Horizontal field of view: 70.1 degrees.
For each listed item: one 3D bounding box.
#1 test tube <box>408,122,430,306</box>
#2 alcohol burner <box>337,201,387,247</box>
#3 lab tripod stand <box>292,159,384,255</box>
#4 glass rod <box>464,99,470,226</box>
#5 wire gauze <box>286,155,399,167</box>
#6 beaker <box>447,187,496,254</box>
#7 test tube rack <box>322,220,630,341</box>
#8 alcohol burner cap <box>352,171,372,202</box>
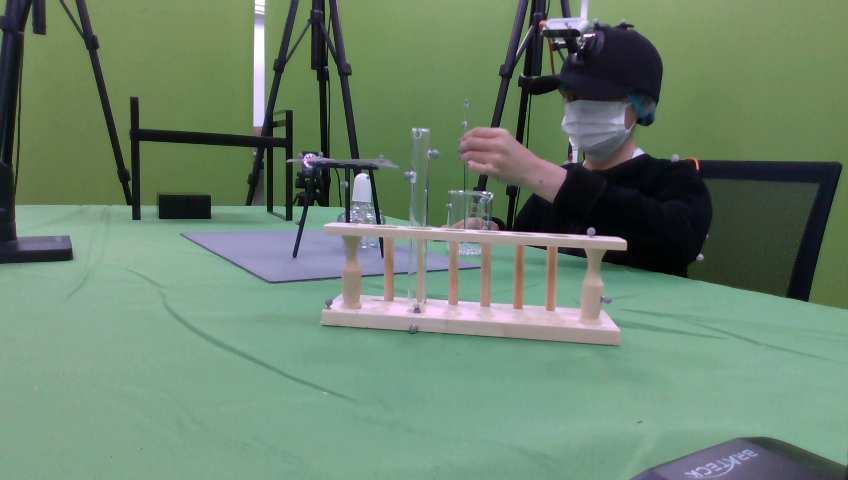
[{"bbox_3d":[-0.004,-0.019,0.489,0.017,0.150,0.017,1,11,0],"label":"test tube"},{"bbox_3d":[-0.098,-0.049,0.954,0.078,0.119,0.078,0,7,0],"label":"alcohol burner"},{"bbox_3d":[-0.105,-0.039,0.797,0.148,0.131,0.148,2,5,0],"label":"lab tripod stand"},{"bbox_3d":[0.066,-0.113,0.923,0.008,0.199,0.008,-1,16,1],"label":"glass rod"},{"bbox_3d":[-0.101,-0.105,0.788,0.121,0.011,0.125,4,6,6],"label":"wire gauze"},{"bbox_3d":[0.076,-0.031,0.949,0.074,0.100,0.083,-5,11,-42],"label":"beaker"},{"bbox_3d":[0.041,0.029,0.512,0.242,0.085,0.067,3,7,5],"label":"test tube rack"},{"bbox_3d":[-0.096,-0.084,0.951,0.034,0.048,0.034,6,5,0],"label":"alcohol burner cap"}]
